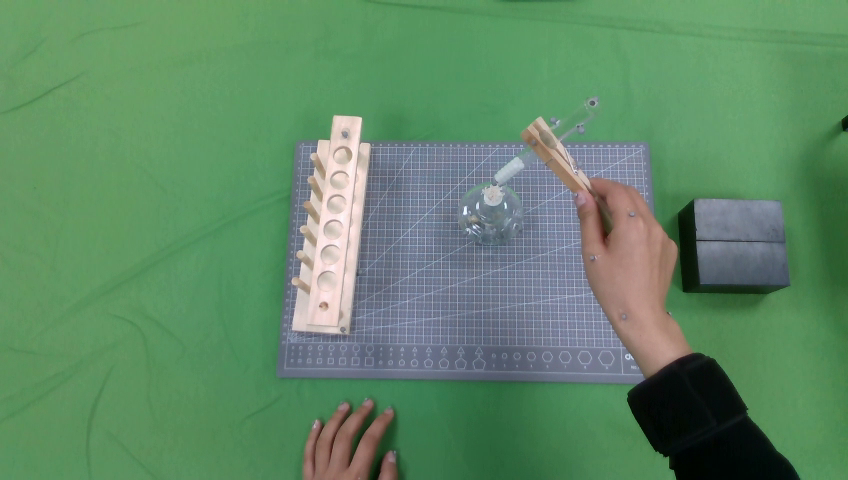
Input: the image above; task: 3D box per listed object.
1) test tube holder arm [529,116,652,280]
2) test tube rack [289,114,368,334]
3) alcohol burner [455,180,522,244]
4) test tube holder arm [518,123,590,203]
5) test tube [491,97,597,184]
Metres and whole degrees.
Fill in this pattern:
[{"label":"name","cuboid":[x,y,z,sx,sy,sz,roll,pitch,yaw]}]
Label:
[{"label":"test tube holder arm","cuboid":[0.151,-0.037,0.552,0.013,0.015,0.178,-39,92,-29]},{"label":"test tube rack","cuboid":[-0.115,-0.018,0.705,0.067,0.085,0.241,4,75,2]},{"label":"alcohol burner","cuboid":[0.074,-0.037,0.691,0.078,0.119,0.077,-1,76,2]},{"label":"test tube holder arm","cuboid":[0.119,-0.069,0.547,0.088,0.015,0.010,46,61,-5]},{"label":"test tube","cuboid":[0.103,-0.086,0.553,0.017,0.150,0.017,10,67,-24]}]
